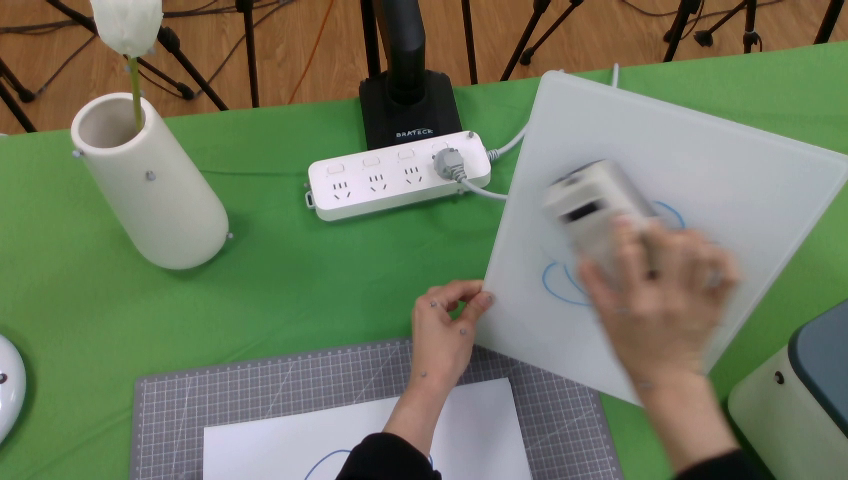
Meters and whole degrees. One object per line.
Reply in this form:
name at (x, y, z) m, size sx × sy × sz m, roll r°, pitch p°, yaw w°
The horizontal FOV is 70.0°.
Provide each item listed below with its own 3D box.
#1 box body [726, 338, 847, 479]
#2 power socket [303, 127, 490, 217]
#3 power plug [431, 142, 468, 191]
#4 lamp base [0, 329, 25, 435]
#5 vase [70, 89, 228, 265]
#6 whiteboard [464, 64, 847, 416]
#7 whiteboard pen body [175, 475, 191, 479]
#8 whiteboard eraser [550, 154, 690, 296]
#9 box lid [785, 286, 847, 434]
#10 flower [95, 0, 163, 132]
box body at (0.470, 0.201, 0.493) m, size 0.254 × 0.161 × 0.360 m, roll -25°, pitch 64°, yaw -14°
power socket at (-0.030, -0.081, 0.710) m, size 0.227 × 0.033 × 0.071 m, roll -12°, pitch 63°, yaw -8°
power plug at (0.028, -0.077, 0.684) m, size 0.035 × 0.053 × 0.072 m, roll -3°, pitch 68°, yaw -3°
lamp base at (-0.477, 0.108, 0.513) m, size 0.178 × 0.182 × 0.160 m, roll 21°, pitch 62°, yaw 14°
vase at (-0.265, -0.055, 0.596) m, size 0.098 × 0.201 × 0.097 m, roll 0°, pitch 61°, yaw 0°
whiteboard at (0.187, -0.015, 0.559) m, size 0.216 × 0.308 × 0.143 m, roll 20°, pitch 42°, yaw 10°
whiteboard pen body at (-0.215, 0.274, 0.514) m, size 0.017 × 0.017 × 0.139 m, roll 0°, pitch 63°, yaw -1°
whiteboard eraser at (0.150, -0.011, 0.462) m, size 0.113 × 0.055 × 0.041 m, roll 48°, pitch 38°, yaw -17°
box lid at (0.470, 0.162, 0.428) m, size 0.263 × 0.015 × 0.368 m, roll -25°, pitch 65°, yaw -13°
flower at (-0.243, -0.090, 0.523) m, size 0.038 × 0.362 × 0.044 m, roll 40°, pitch 58°, yaw 1°
